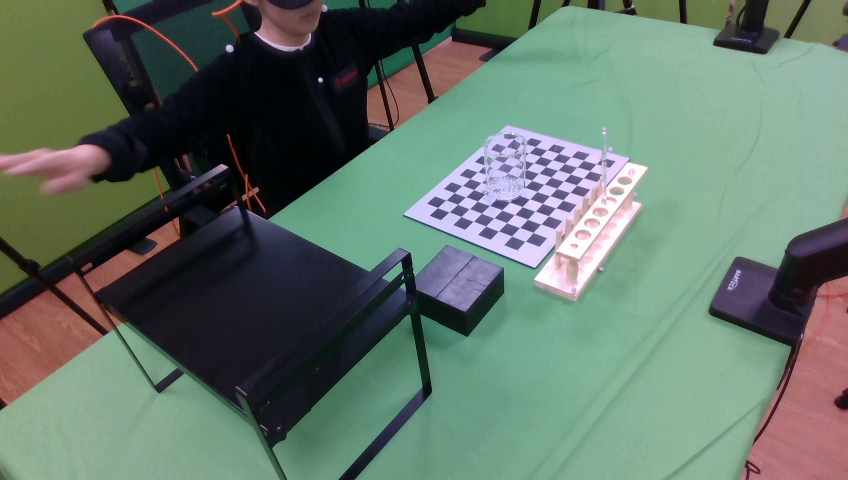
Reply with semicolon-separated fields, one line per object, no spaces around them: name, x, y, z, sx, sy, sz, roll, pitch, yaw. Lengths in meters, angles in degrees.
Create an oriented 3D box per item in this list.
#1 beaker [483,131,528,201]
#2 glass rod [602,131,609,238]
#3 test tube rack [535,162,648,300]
beaker;0.143;-0.125;1.035;0.073;0.101;0.084;24;49;32
glass rod;0.263;-0.074;0.872;0.008;0.201;0.008;-9;44;9
test tube rack;0.257;-0.024;0.916;0.066;0.085;0.243;22;49;30
